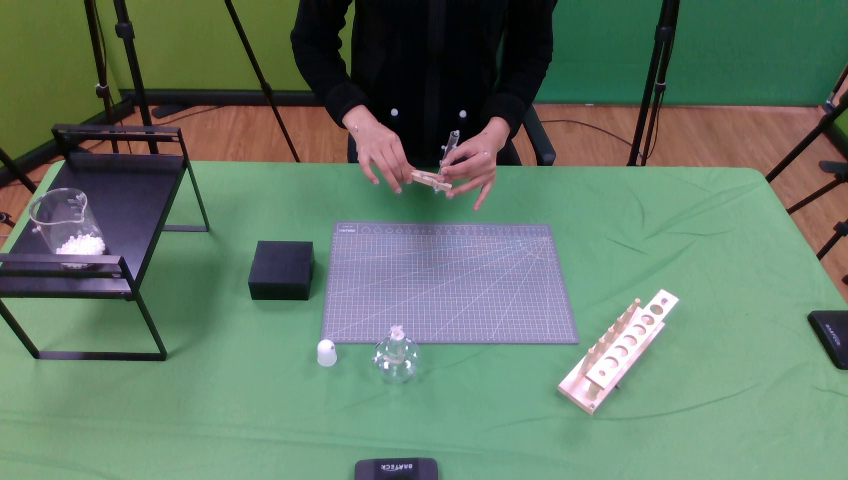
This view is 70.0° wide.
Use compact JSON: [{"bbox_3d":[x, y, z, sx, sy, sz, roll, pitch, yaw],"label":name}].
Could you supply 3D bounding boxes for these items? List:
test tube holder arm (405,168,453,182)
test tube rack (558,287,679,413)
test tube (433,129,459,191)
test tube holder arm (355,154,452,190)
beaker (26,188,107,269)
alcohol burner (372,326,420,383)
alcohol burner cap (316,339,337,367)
[{"bbox_3d":[0.008,-0.116,1.091,0.088,0.015,0.010,9,46,-7],"label":"test tube holder arm"},{"bbox_3d":[0.326,0.170,1.009,0.066,0.085,0.242,36,54,27],"label":"test tube rack"},{"bbox_3d":[0.036,-0.134,1.049,0.017,0.151,0.017,6,55,-9],"label":"test tube"},{"bbox_3d":[-0.037,-0.122,1.085,0.178,0.015,0.013,16,45,0],"label":"test tube holder arm"},{"bbox_3d":[-0.504,-0.013,0.868,0.084,0.101,0.074,23,49,17],"label":"beaker"},{"bbox_3d":[-0.044,0.175,0.961,0.078,0.120,0.077,1,47,-1],"label":"alcohol burner"},{"bbox_3d":[-0.161,0.182,0.995,0.034,0.048,0.033,2,47,-2],"label":"alcohol burner cap"}]
